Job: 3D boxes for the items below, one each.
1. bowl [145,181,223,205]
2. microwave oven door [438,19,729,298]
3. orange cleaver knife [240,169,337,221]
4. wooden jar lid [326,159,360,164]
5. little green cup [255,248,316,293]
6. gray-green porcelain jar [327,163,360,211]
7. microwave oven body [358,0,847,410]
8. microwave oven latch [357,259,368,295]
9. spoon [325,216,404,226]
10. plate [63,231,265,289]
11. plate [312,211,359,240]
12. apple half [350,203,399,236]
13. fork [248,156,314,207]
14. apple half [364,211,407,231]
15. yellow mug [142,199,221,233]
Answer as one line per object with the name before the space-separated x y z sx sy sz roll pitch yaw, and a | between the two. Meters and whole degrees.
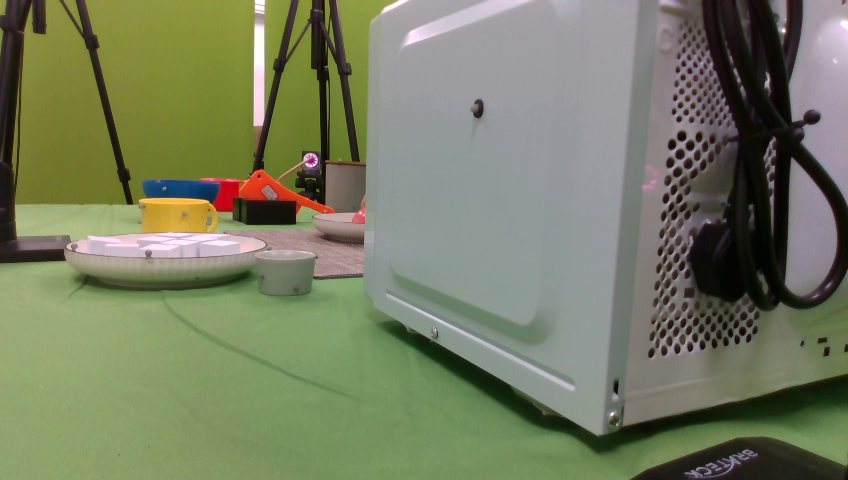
bowl | -0.499 -0.081 1.261 0.151 0.077 0.151 2 8 0
microwave oven door | 0.181 -0.076 0.618 0.358 0.243 0.039 -2 8 -28
orange cleaver knife | -0.287 -0.082 1.298 0.212 0.077 0.012 25 -2 -31
wooden jar lid | -0.185 -0.187 1.481 0.108 0.020 0.108 4 6 0
little green cup | -0.144 0.031 0.627 0.061 0.038 0.061 2 6 0
gray-green porcelain jar | -0.187 -0.125 1.490 0.106 0.126 0.106 2 8 0
microwave oven body | 0.210 -0.051 0.471 0.444 0.260 0.324 -1 7 -28
microwave oven latch | -0.019 0.031 0.530 0.079 0.029 0.030 -1 7 -27
spoon | -0.120 -0.043 1.273 0.195 0.021 0.041 -4 -11 -39
plate | -0.288 0.021 0.687 0.208 0.039 0.207 2 8 0
plate | -0.091 -0.026 1.063 0.209 0.038 0.209 2 7 0
apple half | -0.082 -0.036 1.024 0.081 0.053 0.074 -3 11 -34
fork | -0.360 -0.147 1.523 0.207 0.019 0.028 -43 17 -6
apple half | -0.068 -0.037 1.103 0.081 0.033 0.081 -1 10 1
yellow mug | -0.372 -0.030 0.947 0.099 0.064 0.131 5 7 30
